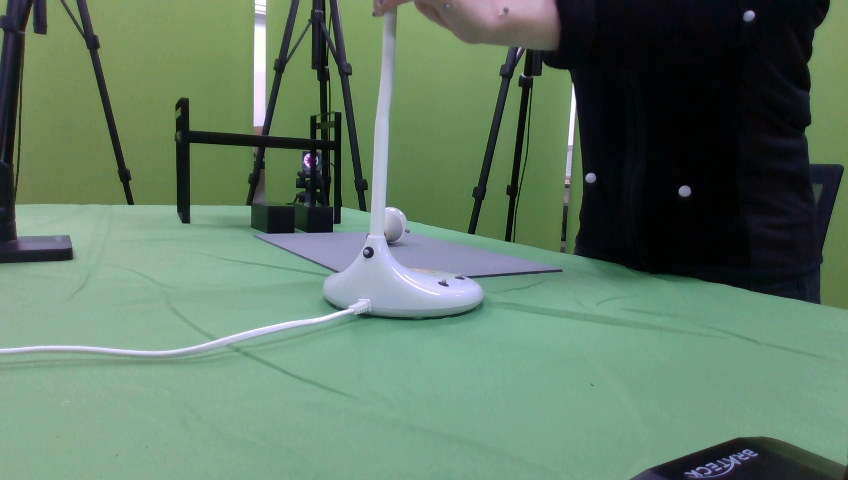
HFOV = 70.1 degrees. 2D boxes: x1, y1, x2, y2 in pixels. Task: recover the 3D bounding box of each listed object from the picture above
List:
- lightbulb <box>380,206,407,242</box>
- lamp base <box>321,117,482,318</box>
[{"bbox_3d":[-0.067,-0.019,1.000,0.059,0.059,0.108,5,24,20],"label":"lightbulb"},{"bbox_3d":[-0.023,-0.025,0.581,0.160,0.180,0.179,4,10,16],"label":"lamp base"}]
